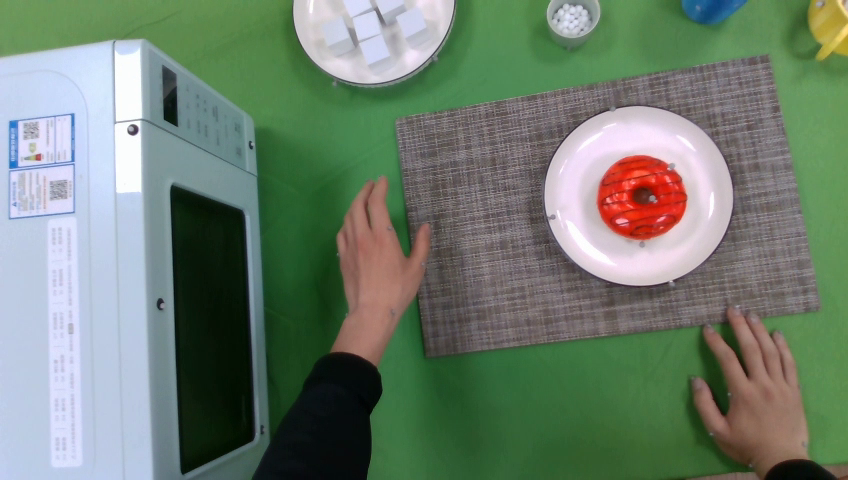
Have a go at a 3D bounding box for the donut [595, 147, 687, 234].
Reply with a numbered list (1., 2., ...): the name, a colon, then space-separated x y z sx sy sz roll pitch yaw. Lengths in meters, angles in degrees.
1. donut: 0.243 -0.055 0.684 0.099 0.048 0.099 -1 85 11

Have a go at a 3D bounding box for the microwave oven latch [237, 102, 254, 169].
1. microwave oven latch: -0.230 -0.129 0.756 0.030 0.029 0.079 -4 85 8

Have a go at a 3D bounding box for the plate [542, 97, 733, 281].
1. plate: 0.240 -0.056 0.696 0.209 0.038 0.208 -1 85 9

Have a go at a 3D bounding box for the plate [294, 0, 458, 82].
1. plate: -0.059 -0.297 0.764 0.207 0.039 0.207 -1 85 8

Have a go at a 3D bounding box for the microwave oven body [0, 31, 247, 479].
1. microwave oven body: -0.377 0.050 0.664 0.326 0.261 0.440 -5 85 7

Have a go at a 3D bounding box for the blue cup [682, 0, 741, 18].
1. blue cup: 0.331 -0.297 0.675 0.092 0.100 0.092 -1 86 8

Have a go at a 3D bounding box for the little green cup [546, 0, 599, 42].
1. little green cup: 0.177 -0.270 0.727 0.061 0.039 0.061 -1 84 9

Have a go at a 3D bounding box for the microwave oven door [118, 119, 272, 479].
1. microwave oven door: -0.231 0.079 0.635 0.039 0.244 0.355 -6 84 8

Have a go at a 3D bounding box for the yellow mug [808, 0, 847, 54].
1. yellow mug: 0.481 -0.259 0.668 0.099 0.064 0.131 41 93 10
